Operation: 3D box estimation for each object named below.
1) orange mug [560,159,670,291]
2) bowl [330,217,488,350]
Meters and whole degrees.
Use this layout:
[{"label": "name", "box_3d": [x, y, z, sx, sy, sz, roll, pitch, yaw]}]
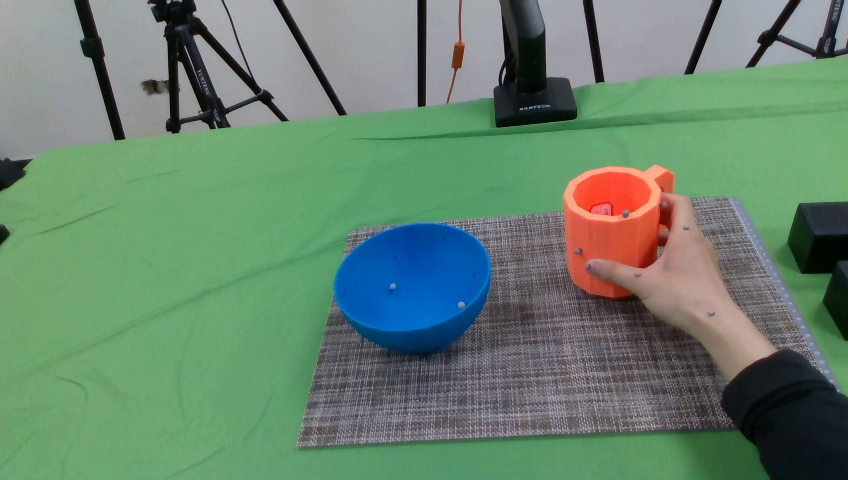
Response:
[{"label": "orange mug", "box_3d": [0.193, -0.024, 0.595, 0.126, 0.102, 0.082, -35, 43, -17]}, {"label": "bowl", "box_3d": [-0.009, 0.054, 0.589, 0.151, 0.077, 0.150, -7, 39, 6]}]
